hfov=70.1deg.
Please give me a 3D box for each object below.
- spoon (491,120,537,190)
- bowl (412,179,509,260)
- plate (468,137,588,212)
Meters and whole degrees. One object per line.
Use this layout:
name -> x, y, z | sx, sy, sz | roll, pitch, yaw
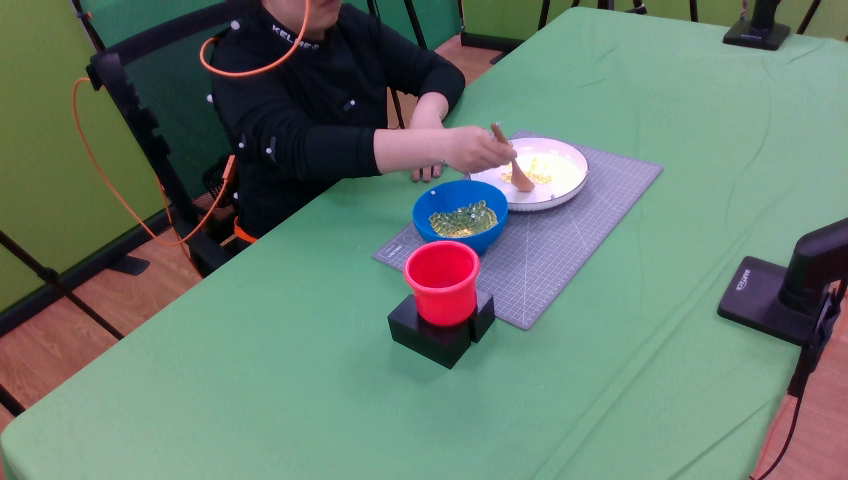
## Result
spoon -> 0.141, -0.133, 0.975 | 0.041, 0.195, 0.021 | 9, 64, 31
bowl -> 0.060, -0.022, 0.949 | 0.151, 0.077, 0.150 | -5, 40, 5
plate -> 0.182, -0.112, 1.064 | 0.207, 0.039, 0.206 | -5, 40, 5
